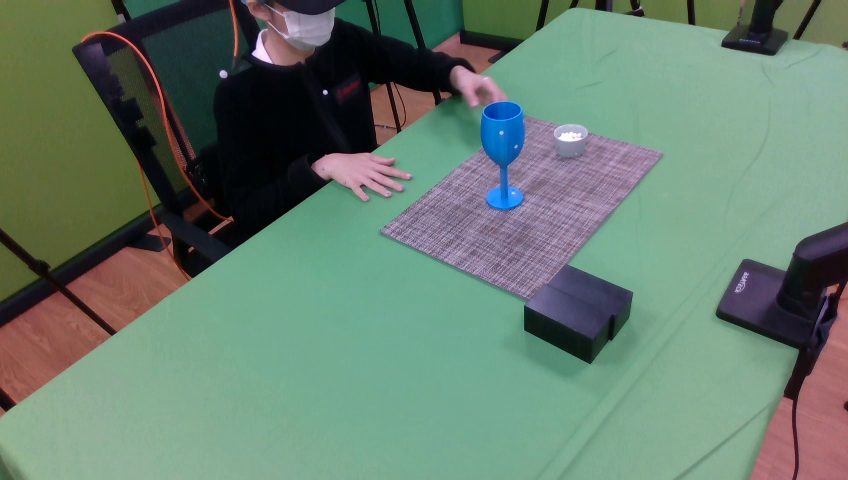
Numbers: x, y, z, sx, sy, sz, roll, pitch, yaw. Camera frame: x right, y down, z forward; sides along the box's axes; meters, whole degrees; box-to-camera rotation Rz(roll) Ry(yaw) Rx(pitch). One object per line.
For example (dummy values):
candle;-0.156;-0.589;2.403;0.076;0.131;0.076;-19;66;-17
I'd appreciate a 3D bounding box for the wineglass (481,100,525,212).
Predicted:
wineglass;0.131;-0.136;0.992;0.074;0.173;0.073;-5;40;4

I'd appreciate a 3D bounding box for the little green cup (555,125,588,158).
little green cup;0.274;-0.184;1.130;0.061;0.039;0.061;-4;41;4
